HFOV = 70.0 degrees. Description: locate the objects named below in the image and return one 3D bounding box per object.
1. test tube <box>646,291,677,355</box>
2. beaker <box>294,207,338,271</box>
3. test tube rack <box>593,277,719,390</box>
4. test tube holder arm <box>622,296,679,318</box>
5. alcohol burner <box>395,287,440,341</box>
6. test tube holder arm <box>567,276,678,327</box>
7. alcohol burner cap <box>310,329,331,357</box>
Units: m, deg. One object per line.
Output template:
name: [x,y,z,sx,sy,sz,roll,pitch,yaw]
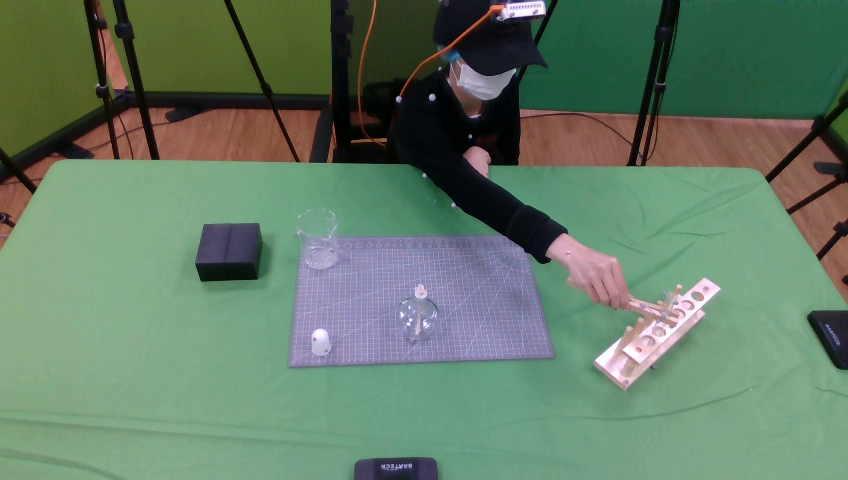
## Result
test tube: [0.377,0.137,0.972,0.017,0.151,0.017,0,44,1]
beaker: [-0.196,0.003,1.123,0.074,0.101,0.083,-23,53,-24]
test tube rack: [0.401,0.148,1.043,0.242,0.085,0.066,-30,55,-29]
test tube holder arm: [0.358,0.107,0.962,0.087,0.015,0.010,14,47,11]
alcohol burner: [-0.010,0.116,1.018,0.078,0.119,0.077,3,47,-3]
test tube holder arm: [0.315,0.097,0.971,0.178,0.015,0.013,22,49,17]
alcohol burner cap: [-0.173,0.168,1.005,0.034,0.048,0.033,2,46,-2]
